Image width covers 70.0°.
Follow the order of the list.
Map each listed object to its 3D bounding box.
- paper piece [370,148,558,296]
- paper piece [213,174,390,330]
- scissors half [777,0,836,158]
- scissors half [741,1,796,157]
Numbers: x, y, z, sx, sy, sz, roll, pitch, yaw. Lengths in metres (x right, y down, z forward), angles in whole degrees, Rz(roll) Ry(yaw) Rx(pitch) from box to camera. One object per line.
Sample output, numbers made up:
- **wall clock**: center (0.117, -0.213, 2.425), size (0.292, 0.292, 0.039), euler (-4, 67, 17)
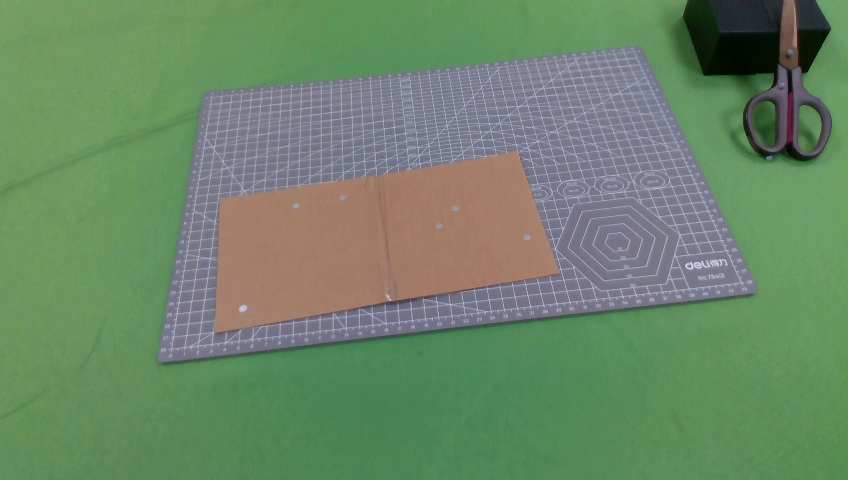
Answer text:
- **paper piece**: center (0.028, -0.020, 0.504), size (0.136, 0.004, 0.134), euler (-9, 54, -3)
- **paper piece**: center (-0.103, 0.003, 0.498), size (0.138, 0.009, 0.134), euler (-9, 51, -2)
- **scissors half**: center (0.336, -0.156, 0.542), size (0.040, 0.013, 0.174), euler (-4, 76, 11)
- **scissors half**: center (0.316, -0.158, 0.545), size (0.040, 0.013, 0.174), euler (14, 79, 10)
